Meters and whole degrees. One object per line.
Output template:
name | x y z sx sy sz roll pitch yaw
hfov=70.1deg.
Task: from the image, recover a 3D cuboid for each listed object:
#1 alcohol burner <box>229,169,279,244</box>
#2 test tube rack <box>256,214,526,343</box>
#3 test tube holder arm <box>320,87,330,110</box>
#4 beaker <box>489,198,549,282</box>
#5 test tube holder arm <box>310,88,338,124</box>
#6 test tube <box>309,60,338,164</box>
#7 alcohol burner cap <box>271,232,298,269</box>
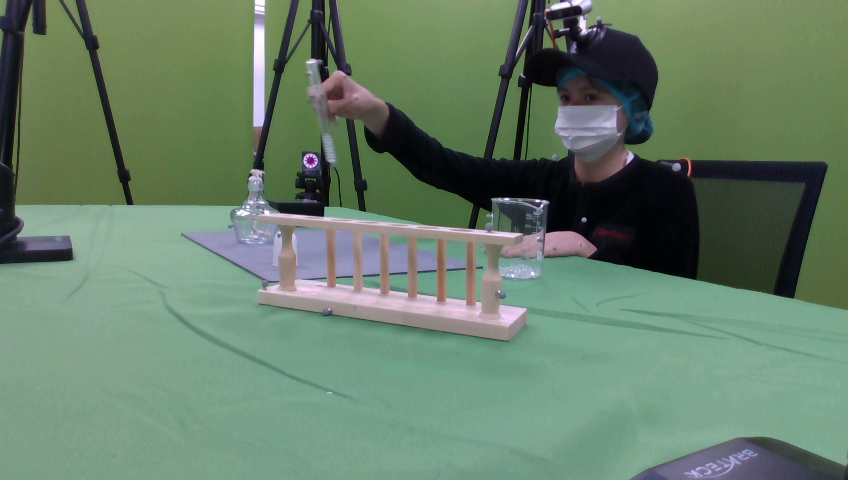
alcohol burner | -0.268 -0.053 0.958 0.078 0.119 0.078 2 6 0
test tube rack | -0.032 0.027 0.547 0.241 0.085 0.067 6 7 22
test tube holder arm | -0.147 -0.209 0.901 0.010 0.015 0.087 -6 -1 -7
beaker | 0.120 -0.001 0.768 0.074 0.100 0.083 -1 9 -25
test tube holder arm | -0.155 -0.207 0.945 0.013 0.015 0.178 -6 -1 0
test tube | -0.147 -0.186 0.880 0.017 0.150 0.017 -10 6 1
alcohol burner cap | -0.175 0.012 0.761 0.034 0.048 0.034 2 8 0
